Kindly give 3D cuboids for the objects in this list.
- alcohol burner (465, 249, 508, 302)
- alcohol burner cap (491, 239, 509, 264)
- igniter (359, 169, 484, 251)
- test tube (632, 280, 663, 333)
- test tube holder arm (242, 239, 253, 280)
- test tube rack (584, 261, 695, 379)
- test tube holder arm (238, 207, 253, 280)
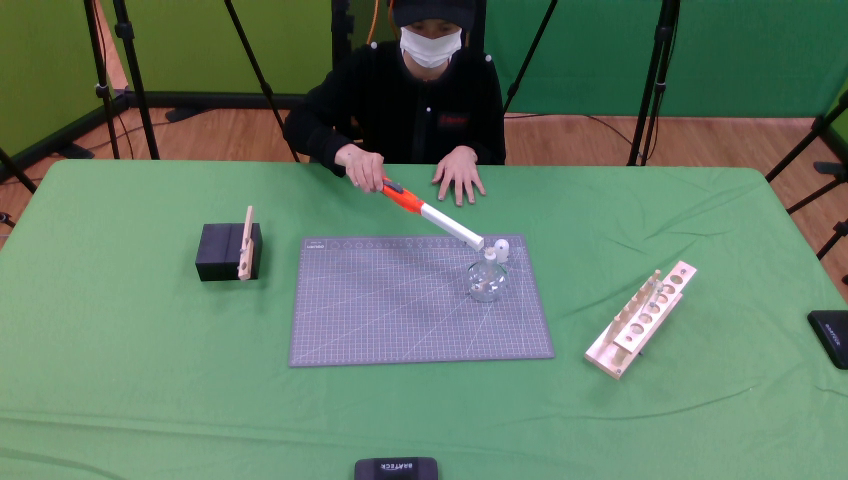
[{"bbox_3d":[0.114,0.057,1.085,0.078,0.120,0.077,2,48,-2],"label":"alcohol burner"},{"bbox_3d":[0.150,0.020,1.174,0.034,0.048,0.033,2,46,-2],"label":"alcohol burner cap"},{"bbox_3d":[-0.011,-0.059,1.088,0.275,0.057,0.025,32,67,21],"label":"igniter"},{"bbox_3d":[0.363,0.121,0.997,0.017,0.151,0.017,2,44,-1],"label":"test tube"},{"bbox_3d":[-0.313,0.033,1.075,0.010,0.015,0.087,-10,46,-1],"label":"test tube holder arm"},{"bbox_3d":[0.380,0.127,1.062,0.066,0.085,0.242,34,53,26],"label":"test tube rack"},{"bbox_3d":[-0.325,0.003,1.106,0.013,0.015,0.177,-10,46,-1],"label":"test tube holder arm"}]
